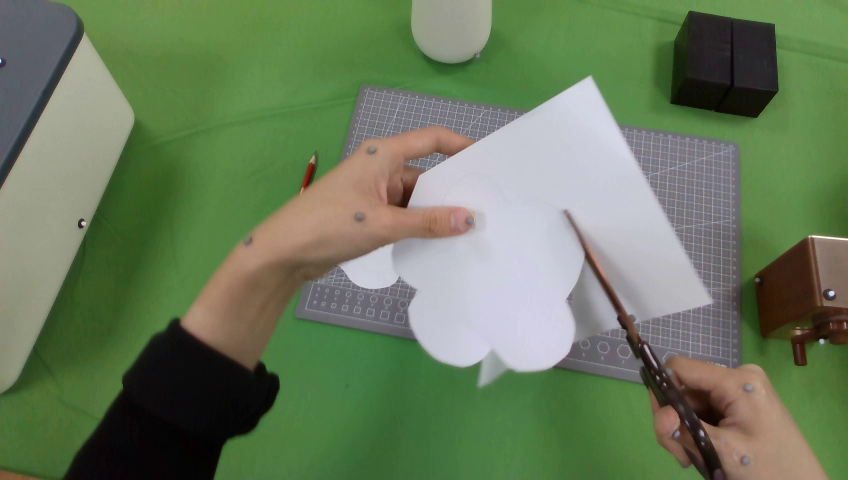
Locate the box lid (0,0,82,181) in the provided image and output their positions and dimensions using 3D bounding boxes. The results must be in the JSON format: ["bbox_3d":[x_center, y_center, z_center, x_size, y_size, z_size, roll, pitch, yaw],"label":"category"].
[{"bbox_3d":[-0.483,-0.085,0.522,0.263,0.015,0.369,10,67,4],"label":"box lid"}]

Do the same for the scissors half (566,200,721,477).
[{"bbox_3d":[0.122,0.054,0.341,0.013,0.040,0.175,-28,87,-1],"label":"scissors half"}]

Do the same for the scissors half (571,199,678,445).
[{"bbox_3d":[0.122,0.051,0.362,0.013,0.039,0.176,-27,109,4],"label":"scissors half"}]

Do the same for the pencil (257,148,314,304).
[{"bbox_3d":[-0.148,-0.021,0.661,0.012,0.012,0.193,11,66,5],"label":"pencil"}]

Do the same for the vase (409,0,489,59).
[{"bbox_3d":[0.028,-0.298,0.675,0.098,0.201,0.097,0,65,1],"label":"vase"}]

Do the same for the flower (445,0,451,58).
[{"bbox_3d":[0.023,-0.344,0.604,0.044,0.365,0.038,3,49,5],"label":"flower"}]

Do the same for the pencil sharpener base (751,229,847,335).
[{"bbox_3d":[0.370,0.046,0.579,0.061,0.108,0.076,6,67,3],"label":"pencil sharpener base"}]

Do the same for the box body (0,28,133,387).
[{"bbox_3d":[-0.483,-0.053,0.590,0.254,0.161,0.361,10,67,4],"label":"box body"}]

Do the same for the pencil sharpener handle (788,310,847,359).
[{"bbox_3d":[0.360,0.087,0.549,0.036,0.068,0.030,11,67,-10],"label":"pencil sharpener handle"}]
